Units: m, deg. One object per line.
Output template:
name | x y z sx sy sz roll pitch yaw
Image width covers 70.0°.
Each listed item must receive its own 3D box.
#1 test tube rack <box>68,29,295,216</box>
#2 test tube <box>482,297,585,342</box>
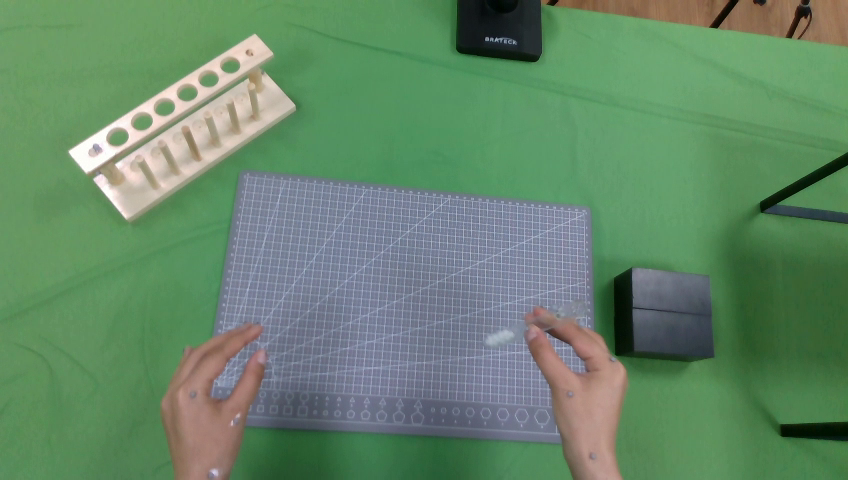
test tube rack | -0.269 -0.137 0.704 0.242 0.085 0.066 -40 82 -18
test tube | 0.096 0.076 0.565 0.017 0.150 0.017 9 68 -24
